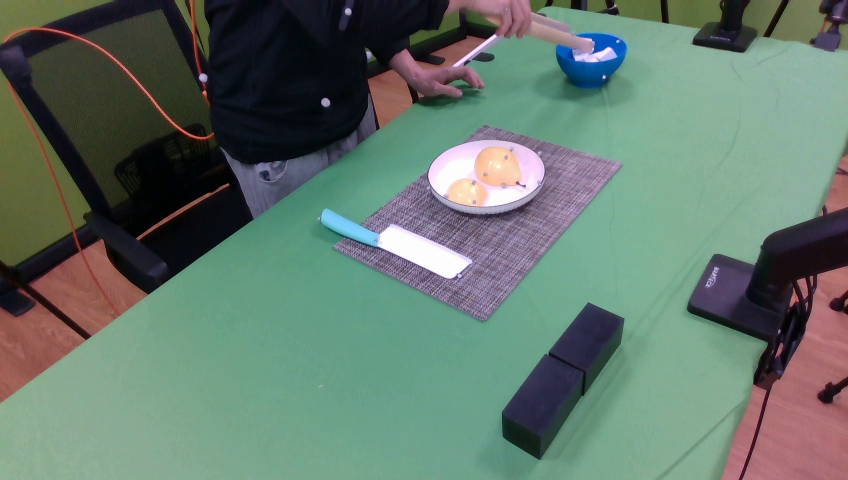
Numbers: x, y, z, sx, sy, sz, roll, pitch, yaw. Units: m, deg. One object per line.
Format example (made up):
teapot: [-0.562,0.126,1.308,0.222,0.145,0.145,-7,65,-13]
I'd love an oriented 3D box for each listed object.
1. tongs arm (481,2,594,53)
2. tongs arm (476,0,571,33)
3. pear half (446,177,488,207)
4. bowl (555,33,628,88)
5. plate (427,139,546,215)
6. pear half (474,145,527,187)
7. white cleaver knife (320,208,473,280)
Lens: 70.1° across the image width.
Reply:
tongs arm: [0.233,-0.405,1.169,0.050,0.026,0.387,45,32,22]
tongs arm: [0.205,-0.432,1.186,0.028,0.027,0.390,48,33,19]
pear half: [0.073,-0.086,1.032,0.070,0.031,0.087,-20,36,-9]
bowl: [0.361,-0.384,1.318,0.151,0.077,0.150,-4,41,4]
plate: [0.109,-0.106,1.058,0.207,0.039,0.206,-4,40,4]
pear half: [0.140,-0.129,1.059,0.076,0.056,0.109,-37,53,-25]
white cleaver knife: [-0.053,0.001,0.978,0.284,0.021,0.066,23,40,26]
